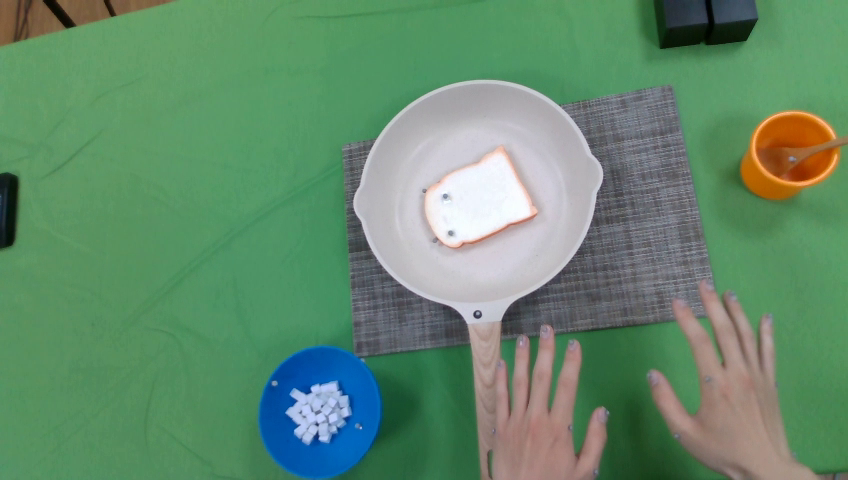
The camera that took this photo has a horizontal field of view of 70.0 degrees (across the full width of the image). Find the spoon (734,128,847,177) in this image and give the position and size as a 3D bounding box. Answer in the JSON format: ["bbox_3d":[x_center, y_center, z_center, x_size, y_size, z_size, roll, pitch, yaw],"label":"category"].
[{"bbox_3d":[0.440,-0.108,0.666,0.022,0.193,0.041,10,75,-32],"label":"spoon"}]

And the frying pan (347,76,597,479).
[{"bbox_3d":[0.061,0.036,0.727,0.306,0.103,0.484,-6,68,11],"label":"frying pan"}]

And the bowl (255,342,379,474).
[{"bbox_3d":[-0.120,0.202,0.742,0.151,0.077,0.150,-2,77,11],"label":"bowl"}]

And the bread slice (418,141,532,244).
[{"bbox_3d":[0.061,-0.052,0.788,0.134,0.018,0.106,-28,73,2],"label":"bread slice"}]
